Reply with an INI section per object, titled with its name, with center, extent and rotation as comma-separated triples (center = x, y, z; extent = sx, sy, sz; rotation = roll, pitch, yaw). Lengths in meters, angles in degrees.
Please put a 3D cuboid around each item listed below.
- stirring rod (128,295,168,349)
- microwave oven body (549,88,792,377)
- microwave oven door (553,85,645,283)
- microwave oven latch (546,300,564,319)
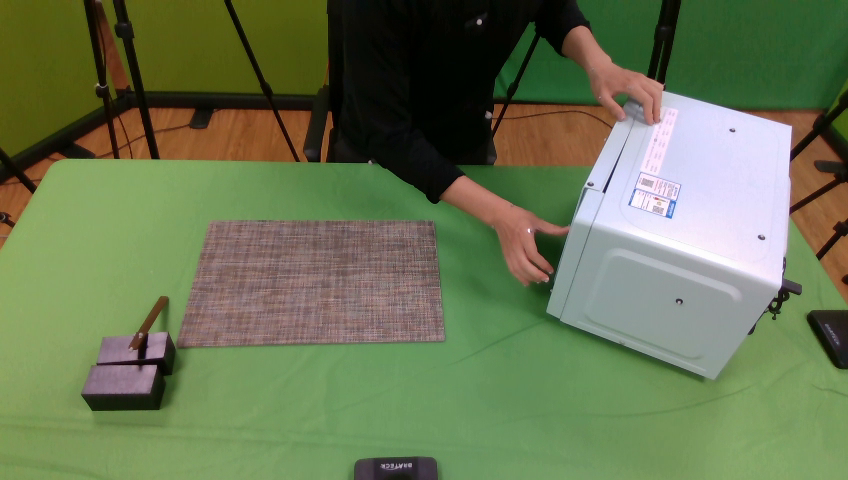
[stirring rod]
center = -0.451, 0.131, 0.996
extent = 0.014, 0.006, 0.175
rotation = 9, 21, -10
[microwave oven body]
center = 0.456, -0.028, 1.088
extent = 0.325, 0.261, 0.440
rotation = 20, 47, 16
[microwave oven door]
center = 0.338, -0.109, 1.150
extent = 0.039, 0.245, 0.354
rotation = 21, 48, 16
[microwave oven latch]
center = 0.242, 0.102, 1.080
extent = 0.030, 0.029, 0.079
rotation = 22, 48, 17
